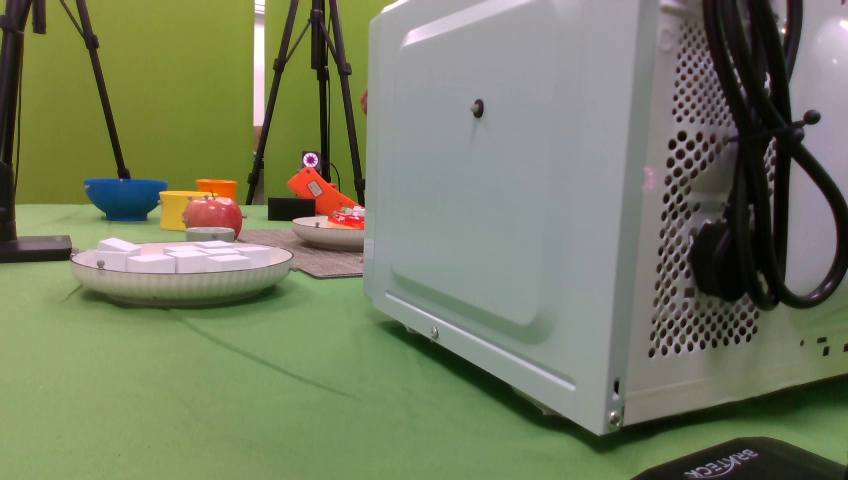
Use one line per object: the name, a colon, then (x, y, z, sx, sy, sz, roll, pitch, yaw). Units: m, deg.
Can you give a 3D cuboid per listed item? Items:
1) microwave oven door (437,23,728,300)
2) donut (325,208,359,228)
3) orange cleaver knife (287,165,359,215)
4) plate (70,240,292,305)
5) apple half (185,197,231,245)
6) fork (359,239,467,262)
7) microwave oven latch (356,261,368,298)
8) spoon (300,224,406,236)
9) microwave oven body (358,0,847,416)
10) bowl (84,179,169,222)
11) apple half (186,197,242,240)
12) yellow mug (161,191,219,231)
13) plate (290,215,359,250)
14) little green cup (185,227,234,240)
microwave oven door: (0.181, -0.072, 0.621, 0.358, 0.243, 0.039, -2, 8, -29)
donut: (-0.110, -0.025, 0.974, 0.099, 0.048, 0.099, 5, 7, 0)
orange cleaver knife: (-0.210, -0.093, 1.382, 0.212, 0.077, 0.012, 33, 1, -15)
plate: (-0.242, 0.031, 0.618, 0.208, 0.039, 0.207, 2, 8, 0)
apple half: (-0.337, -0.031, 0.928, 0.032, 0.081, 0.082, 13, 13, 37)
fork: (-0.009, 0.014, 0.872, 0.208, 0.018, 0.028, -5, 0, -44)
microwave oven latch: (-0.020, 0.033, 0.530, 0.079, 0.029, 0.030, 0, 7, -26)
spoon: (-0.127, -0.018, 1.104, 0.194, 0.021, 0.041, 0, 7, -16)
microwave oven body: (0.211, -0.047, 0.474, 0.444, 0.260, 0.324, -1, 8, -28)
bowl: (-0.584, -0.078, 1.194, 0.151, 0.077, 0.151, 3, 8, 0)
apple half: (-0.307, -0.026, 0.905, 0.053, 0.074, 0.081, 14, 9, 37)
yellow mug: (-0.416, -0.053, 1.104, 0.130, 0.064, 0.100, 7, 9, 26)
plate: (-0.110, -0.014, 0.974, 0.209, 0.038, 0.209, 3, 8, 0)
little green cup: (-0.285, 0.005, 0.805, 0.061, 0.038, 0.061, 3, 8, 0)
